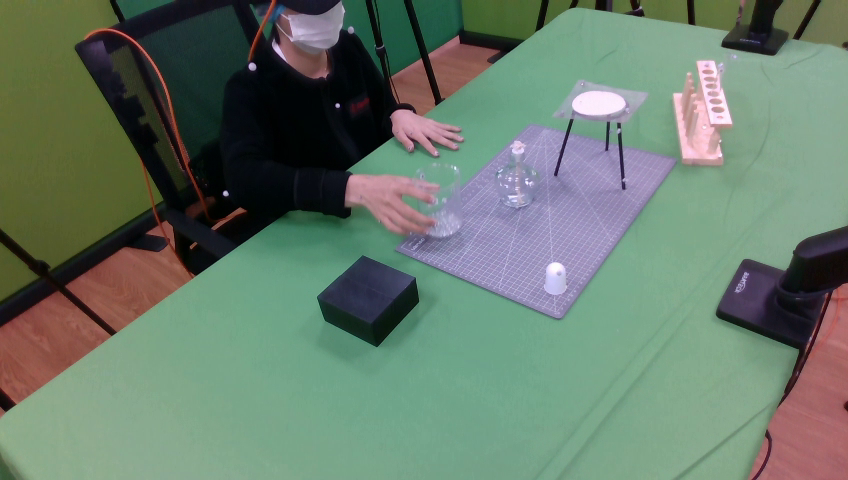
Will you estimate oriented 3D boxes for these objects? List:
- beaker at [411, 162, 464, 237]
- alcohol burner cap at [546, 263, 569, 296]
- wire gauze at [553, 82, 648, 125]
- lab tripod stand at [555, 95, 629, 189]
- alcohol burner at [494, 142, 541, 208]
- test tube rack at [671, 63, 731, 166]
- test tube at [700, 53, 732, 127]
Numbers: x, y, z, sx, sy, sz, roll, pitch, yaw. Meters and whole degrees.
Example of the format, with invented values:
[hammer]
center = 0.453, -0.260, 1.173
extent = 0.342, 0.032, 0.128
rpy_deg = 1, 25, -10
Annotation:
[beaker]
center = 0.026, -0.062, 0.952
extent = 0.084, 0.101, 0.073
rpy_deg = -28, 44, -22
[alcohol burner cap]
center = 0.191, 0.053, 0.862
extent = 0.034, 0.048, 0.033
rpy_deg = -5, 40, 4
[wire gauze]
center = 0.293, -0.225, 1.002
extent = 0.120, 0.011, 0.125
rpy_deg = 17, 45, 27
[lab tripod stand]
center = 0.300, -0.174, 1.045
extent = 0.148, 0.132, 0.147
rpy_deg = -5, 38, 5
[alcohol burner]
center = 0.157, -0.113, 1.011
extent = 0.078, 0.119, 0.077
rpy_deg = -3, 41, 3
[test tube rack]
center = 0.513, -0.241, 1.132
extent = 0.066, 0.085, 0.242
rpy_deg = 4, 41, 14
[test tube]
center = 0.521, -0.265, 1.081
extent = 0.017, 0.151, 0.017
rpy_deg = -3, 47, 3
